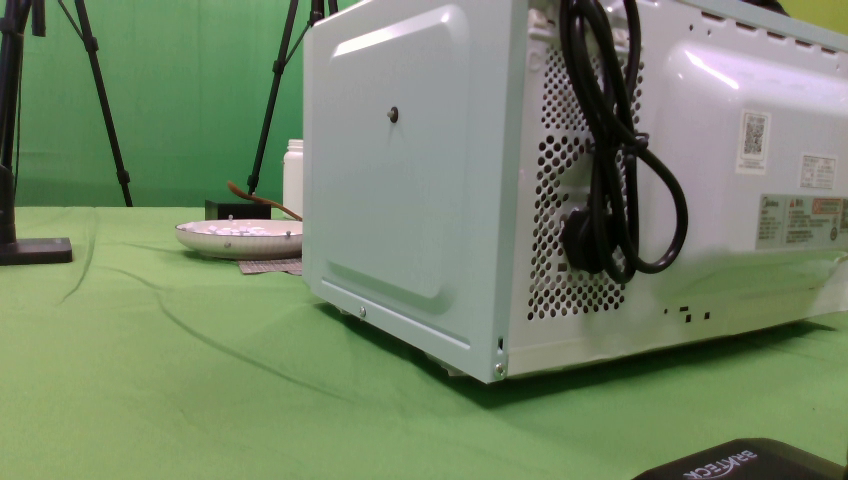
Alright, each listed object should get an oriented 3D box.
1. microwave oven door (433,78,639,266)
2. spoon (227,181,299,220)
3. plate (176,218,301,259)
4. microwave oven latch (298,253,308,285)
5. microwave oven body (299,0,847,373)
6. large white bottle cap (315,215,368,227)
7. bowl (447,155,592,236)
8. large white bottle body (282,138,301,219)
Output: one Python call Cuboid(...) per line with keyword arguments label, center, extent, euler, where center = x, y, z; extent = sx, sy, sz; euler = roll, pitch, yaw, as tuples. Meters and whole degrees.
Cuboid(label="microwave oven door", center=(0.146, -0.106, 0.906), extent=(0.039, 0.243, 0.354), euler=(-4, 9, -40))
Cuboid(label="spoon", center=(-0.315, -0.074, 1.235), extent=(0.195, 0.021, 0.041), euler=(24, -10, -37))
Cuboid(label="plate", center=(-0.248, -0.003, 0.877), extent=(0.209, 0.038, 0.209), euler=(1, 8, 0))
Cuboid(label="microwave oven latch", center=(-0.081, 0.027, 0.582), extent=(0.079, 0.029, 0.030), euler=(-1, 7, -32))
Cuboid(label="microwave oven body", center=(0.152, -0.056, 0.542), extent=(0.444, 0.260, 0.324), euler=(-2, 8, -32))
Cuboid(label="large white bottle cap", center=(-0.177, -0.041, 1.309), extent=(0.115, 0.018, 0.115), euler=(2, 6, 0))
Cuboid(label="bowl", center=(0.097, -0.047, 0.637), extent=(0.151, 0.077, 0.151), euler=(3, 8, 0))
Cuboid(label="large white bottle body", center=(-0.265, -0.144, 1.422), extent=(0.131, 0.184, 0.130), euler=(2, 7, 0))
